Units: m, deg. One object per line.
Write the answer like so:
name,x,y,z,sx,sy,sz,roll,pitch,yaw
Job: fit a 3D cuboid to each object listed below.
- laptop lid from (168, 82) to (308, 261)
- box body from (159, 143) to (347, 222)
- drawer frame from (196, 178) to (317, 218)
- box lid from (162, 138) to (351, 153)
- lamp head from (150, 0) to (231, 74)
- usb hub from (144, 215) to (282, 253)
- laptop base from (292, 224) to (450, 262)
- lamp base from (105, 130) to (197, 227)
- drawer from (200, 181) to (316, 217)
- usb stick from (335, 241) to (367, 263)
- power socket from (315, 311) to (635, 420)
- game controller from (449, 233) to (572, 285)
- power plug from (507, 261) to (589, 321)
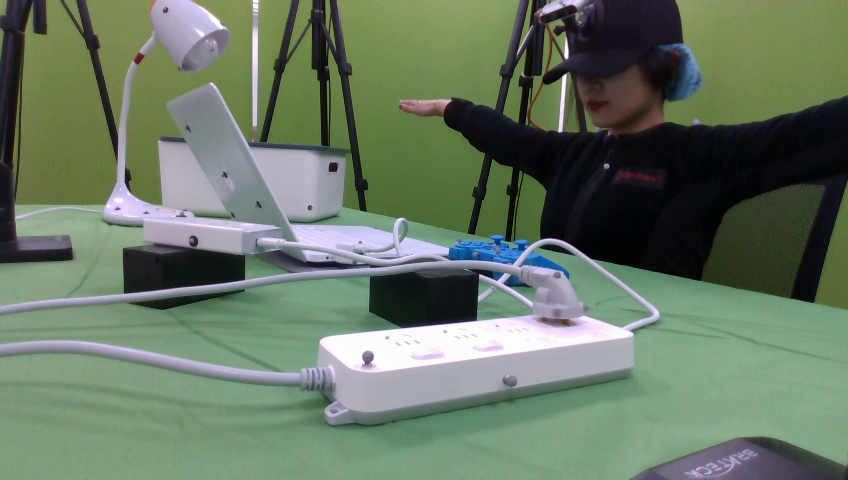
laptop lid,-0.273,-0.094,0.844,0.013,0.242,0.355,-33,24,-22
box body,-0.384,-0.137,1.406,0.364,0.160,0.254,3,8,7
drawer frame,-0.376,-0.101,1.393,0.213,0.082,0.202,1,8,6
box lid,-0.371,-0.215,1.394,0.371,0.015,0.263,4,8,7
lamp head,-0.432,-0.374,1.086,0.123,0.112,0.112,42,8,-2
usb hub,-0.200,-0.006,0.573,0.125,0.025,0.050,6,7,23
laptop base,-0.127,0.002,0.946,0.237,0.023,0.352,2,6,-31
lamp base,-0.532,-0.120,1.153,0.179,0.180,0.161,1,7,8
drawer,-0.372,-0.098,1.393,0.212,0.073,0.194,1,9,6
usb stick,-0.093,0.014,0.742,0.021,0.027,0.059,-4,1,-34
power socket,0.039,0.072,0.385,0.228,0.032,0.072,-2,7,-29
game controller,0.101,0.021,0.760,0.097,0.051,0.154,-7,10,-30
power plug,0.091,0.043,0.444,0.035,0.052,0.072,-1,5,-18
